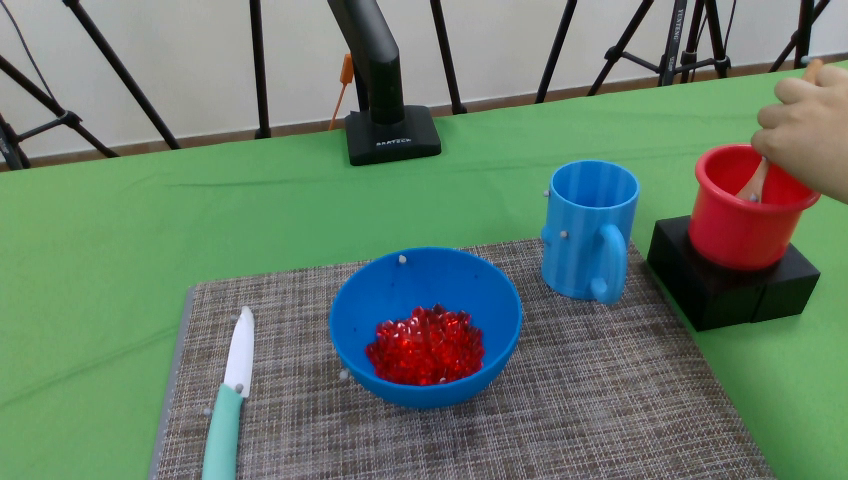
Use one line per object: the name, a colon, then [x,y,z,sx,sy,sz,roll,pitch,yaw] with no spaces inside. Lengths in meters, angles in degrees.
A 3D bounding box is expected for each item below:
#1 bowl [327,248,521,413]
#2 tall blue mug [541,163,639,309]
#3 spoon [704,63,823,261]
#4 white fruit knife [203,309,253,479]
bowl: [0.002,0.085,0.492,0.151,0.077,0.150,-2,40,2]
tall blue mug: [0.159,0.003,0.553,0.078,0.109,0.106,-26,45,-25]
spoon: [0.301,-0.068,0.527,0.041,0.022,0.194,28,94,39]
white fruit knife: [-0.159,0.131,0.502,0.027,0.016,0.205,17,33,-21]
